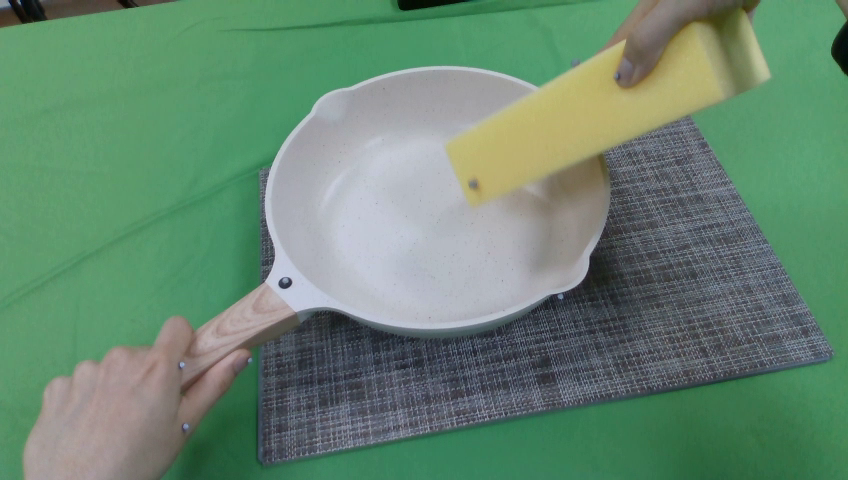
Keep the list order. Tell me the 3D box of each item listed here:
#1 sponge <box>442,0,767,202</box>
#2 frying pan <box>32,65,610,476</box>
[{"bbox_3d":[0.130,-0.100,0.460,0.118,0.206,0.061,-25,93,-47],"label":"sponge"},{"bbox_3d":[-0.065,0.013,0.490,0.488,0.103,0.304,-34,58,-28],"label":"frying pan"}]
